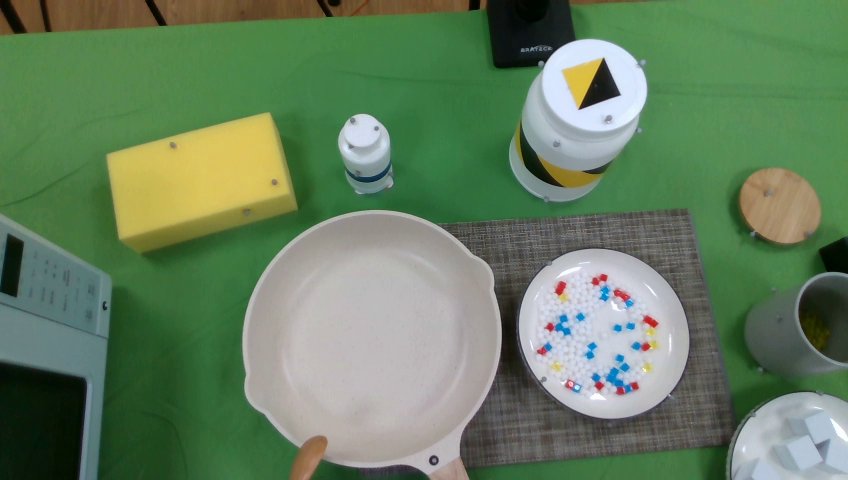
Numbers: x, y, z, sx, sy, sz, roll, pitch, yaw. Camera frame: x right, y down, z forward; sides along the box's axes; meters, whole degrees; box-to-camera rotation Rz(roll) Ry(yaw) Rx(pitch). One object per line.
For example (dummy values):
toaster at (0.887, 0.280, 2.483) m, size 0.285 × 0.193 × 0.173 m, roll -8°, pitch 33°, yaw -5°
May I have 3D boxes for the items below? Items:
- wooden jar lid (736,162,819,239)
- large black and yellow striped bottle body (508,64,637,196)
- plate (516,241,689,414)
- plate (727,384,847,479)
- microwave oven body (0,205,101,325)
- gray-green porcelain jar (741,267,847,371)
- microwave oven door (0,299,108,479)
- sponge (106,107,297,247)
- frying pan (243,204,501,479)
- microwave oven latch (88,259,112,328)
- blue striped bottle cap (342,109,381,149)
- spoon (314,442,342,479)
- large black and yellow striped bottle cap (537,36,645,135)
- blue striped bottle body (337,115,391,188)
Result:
wooden jar lid at (0.468, -0.051, 0.808) m, size 0.108 × 0.021 × 0.108 m, roll 0°, pitch 75°, yaw -1°
large black and yellow striped bottle body at (0.180, -0.144, 0.741) m, size 0.131 × 0.185 × 0.130 m, roll 0°, pitch 73°, yaw -1°
plate at (0.214, 0.105, 0.740) m, size 0.209 × 0.038 × 0.208 m, roll 0°, pitch 74°, yaw -1°
plate at (0.451, 0.273, 0.702) m, size 0.208 × 0.039 × 0.206 m, roll 1°, pitch 73°, yaw -1°
microwave oven body at (-0.524, 0.212, 0.568) m, size 0.326 × 0.261 × 0.439 m, roll -3°, pitch 74°, yaw -3°
gray-green porcelain jar at (0.446, 0.097, 0.707) m, size 0.106 × 0.127 × 0.105 m, roll 1°, pitch 73°, yaw -1°
microwave oven door at (-0.376, 0.243, 0.558) m, size 0.039 × 0.245 × 0.353 m, roll -4°, pitch 73°, yaw -3°
sponge at (-0.279, -0.080, 0.771) m, size 0.207 × 0.061 × 0.117 m, roll -17°, pitch 75°, yaw -7°
frying pan at (-0.010, 0.187, 0.674) m, size 0.307 × 0.103 × 0.483 m, roll -27°, pitch 68°, yaw -8°
microwave oven latch at (-0.390, 0.063, 0.717) m, size 0.030 × 0.029 × 0.078 m, roll -2°, pitch 74°, yaw -3°
blue striped bottle cap at (-0.073, -0.130, 0.707) m, size 0.044 × 0.021 × 0.044 m, roll 0°, pitch 71°, yaw 0°
spoon at (-0.149, 0.281, 0.606) m, size 0.193 × 0.041 × 0.021 m, roll -43°, pitch 91°, yaw -12°
large black and yellow striped bottle cap at (0.182, -0.170, 0.659) m, size 0.115 × 0.019 × 0.114 m, roll 0°, pitch 72°, yaw -1°
blue striped bottle body at (-0.074, -0.116, 0.757) m, size 0.063 × 0.121 × 0.062 m, roll 1°, pitch 73°, yaw -2°
